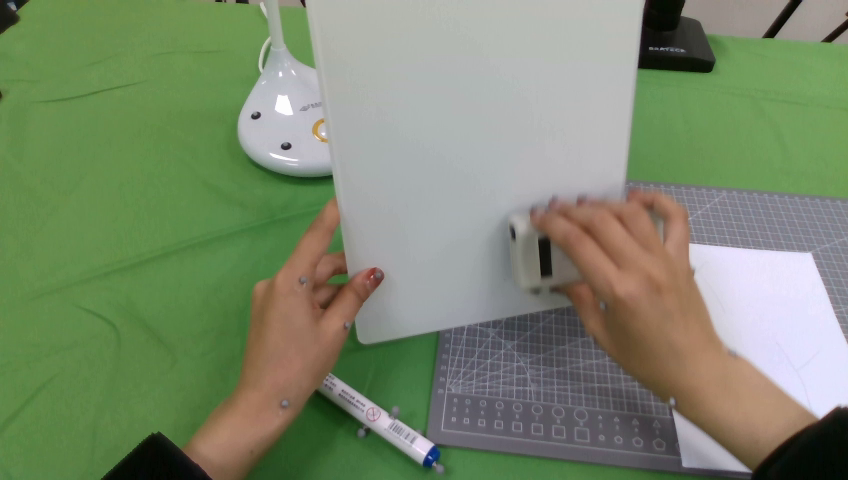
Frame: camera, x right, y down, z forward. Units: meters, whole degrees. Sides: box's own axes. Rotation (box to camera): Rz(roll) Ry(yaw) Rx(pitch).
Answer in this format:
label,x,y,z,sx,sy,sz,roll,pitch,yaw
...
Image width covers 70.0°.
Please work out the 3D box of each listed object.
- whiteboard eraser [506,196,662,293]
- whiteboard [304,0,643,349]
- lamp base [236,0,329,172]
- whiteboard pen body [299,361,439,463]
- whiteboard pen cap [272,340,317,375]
label,x,y,z,sx,sy,sz,roll,pitch,yaw
whiteboard eraser,0.119,0.002,0.453,0.113,0.056,0.041,-9,23,-6
whiteboard,0.029,-0.098,0.474,0.217,0.308,0.142,-9,29,-9
lamp base,-0.126,-0.186,0.597,0.160,0.182,0.177,-33,53,-27
whiteboard pen body,-0.050,0.115,0.432,0.140,0.017,0.017,27,52,23
whiteboard pen cap,-0.097,0.089,0.455,0.033,0.018,0.018,27,52,25
